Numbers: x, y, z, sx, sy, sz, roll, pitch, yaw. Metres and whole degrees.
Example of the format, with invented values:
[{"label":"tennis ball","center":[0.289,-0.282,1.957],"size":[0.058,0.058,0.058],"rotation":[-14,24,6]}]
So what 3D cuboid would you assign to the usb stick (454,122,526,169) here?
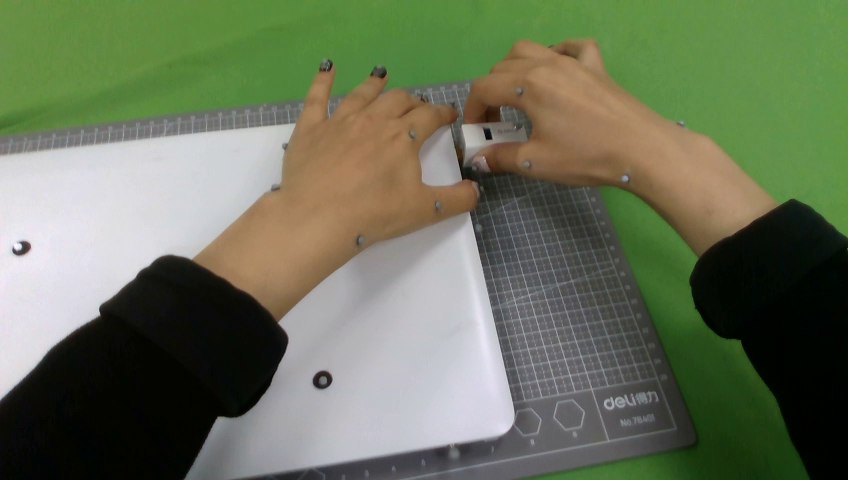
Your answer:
[{"label":"usb stick","center":[0.039,-0.066,0.423],"size":[0.059,0.027,0.021],"rotation":[-7,61,-5]}]

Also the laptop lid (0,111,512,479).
[{"label":"laptop lid","center":[-0.141,0.028,0.363],"size":[0.357,0.013,0.239],"rotation":[-6,62,-5]}]

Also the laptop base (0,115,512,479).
[{"label":"laptop base","center":[-0.141,0.032,0.374],"size":[0.355,0.023,0.233],"rotation":[-7,63,-6]}]
